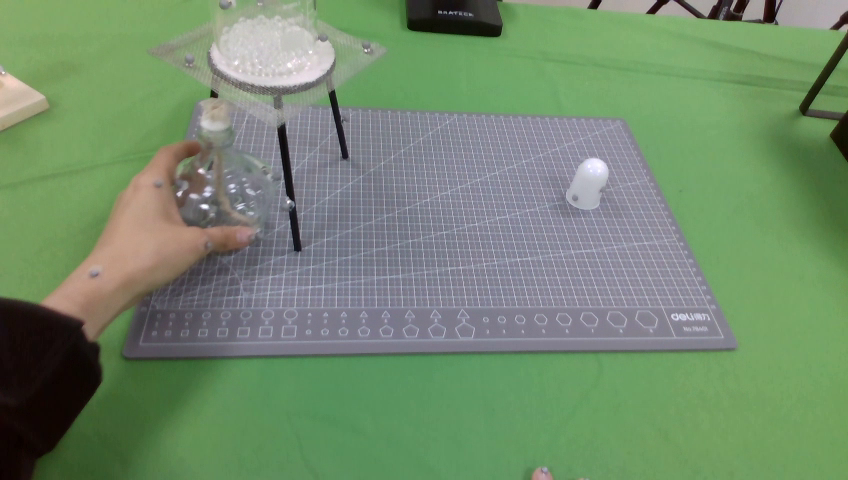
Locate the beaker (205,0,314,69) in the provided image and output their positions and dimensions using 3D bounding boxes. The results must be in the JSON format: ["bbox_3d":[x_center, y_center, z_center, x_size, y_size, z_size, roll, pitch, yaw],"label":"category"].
[{"bbox_3d":[-0.110,-0.171,0.395,0.073,0.101,0.084,31,52,18],"label":"beaker"}]

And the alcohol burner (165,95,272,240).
[{"bbox_3d":[-0.154,-0.057,0.454,0.078,0.120,0.077,6,46,-6],"label":"alcohol burner"}]

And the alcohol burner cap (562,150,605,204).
[{"bbox_3d":[0.148,-0.060,0.554,0.034,0.048,0.033,4,47,-4],"label":"alcohol burner cap"}]

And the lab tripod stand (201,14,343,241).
[{"bbox_3d":[-0.116,-0.094,0.480,0.149,0.132,0.147,6,48,-6],"label":"lab tripod stand"}]

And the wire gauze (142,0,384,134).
[{"bbox_3d":[-0.111,-0.137,0.432,0.124,0.011,0.121,33,54,15],"label":"wire gauze"}]

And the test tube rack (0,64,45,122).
[{"bbox_3d":[-0.446,-0.106,0.476,0.066,0.086,0.242,30,51,18],"label":"test tube rack"}]
